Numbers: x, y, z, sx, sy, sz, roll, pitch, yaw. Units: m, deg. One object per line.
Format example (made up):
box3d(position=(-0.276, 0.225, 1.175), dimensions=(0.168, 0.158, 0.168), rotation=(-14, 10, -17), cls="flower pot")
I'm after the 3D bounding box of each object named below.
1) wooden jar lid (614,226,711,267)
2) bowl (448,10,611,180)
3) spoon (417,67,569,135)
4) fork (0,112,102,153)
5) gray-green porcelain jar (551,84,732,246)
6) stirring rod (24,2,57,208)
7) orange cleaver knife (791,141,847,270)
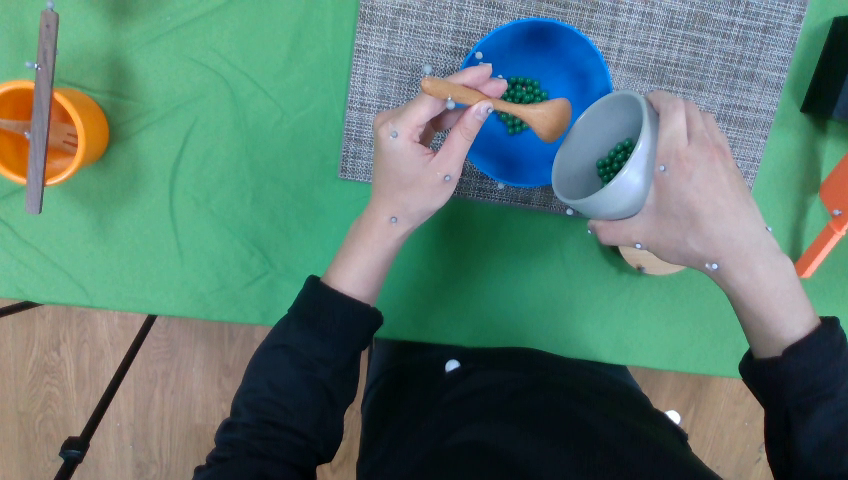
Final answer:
box3d(position=(0.260, -0.023, 0.664), dimensions=(0.108, 0.020, 0.109), rotation=(-1, 112, -3), cls="wooden jar lid")
box3d(position=(0.093, -0.138, 0.584), dimensions=(0.151, 0.076, 0.152), rotation=(-2, 107, -5), cls="bowl")
box3d(position=(0.061, -0.110, 0.472), dimensions=(0.195, 0.021, 0.042), rotation=(0, 118, -44), cls="spoon")
box3d(position=(-0.381, -0.111, 0.512), dimensions=(0.028, 0.018, 0.209), rotation=(-52, 148, 17), cls="fork")
box3d(position=(0.192, -0.059, 0.530), dimensions=(0.127, 0.105, 0.106), rotation=(25, 103, -25), cls="gray-green porcelain jar")
box3d(position=(-0.328, -0.111, 0.516), dimensions=(0.014, 0.006, 0.176), rotation=(11, 106, -12), cls="stirring rod")
box3d(position=(0.449, -0.056, 0.644), dimensions=(0.012, 0.076, 0.213), rotation=(3, 136, -10), cls="orange cleaver knife")
